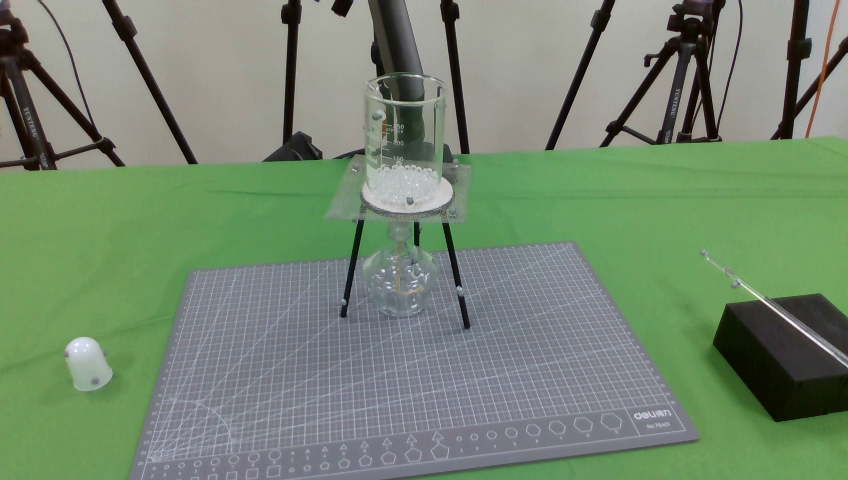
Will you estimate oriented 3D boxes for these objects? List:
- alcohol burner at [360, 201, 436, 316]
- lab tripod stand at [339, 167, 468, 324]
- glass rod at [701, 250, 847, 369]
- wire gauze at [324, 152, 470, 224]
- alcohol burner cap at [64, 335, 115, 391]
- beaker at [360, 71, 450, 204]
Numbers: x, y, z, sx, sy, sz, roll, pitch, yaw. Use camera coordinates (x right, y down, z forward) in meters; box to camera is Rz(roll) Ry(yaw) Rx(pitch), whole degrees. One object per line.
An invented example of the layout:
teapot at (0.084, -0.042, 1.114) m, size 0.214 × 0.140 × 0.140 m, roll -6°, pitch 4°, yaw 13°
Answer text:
alcohol burner at (-0.026, 0.015, 0.604) m, size 0.078 × 0.120 × 0.077 m, roll 0°, pitch 32°, yaw 0°
lab tripod stand at (-0.014, 0.006, 0.600) m, size 0.148 × 0.132 × 0.147 m, roll 2°, pitch 33°, yaw -1°
glass rod at (0.323, 0.064, 0.554) m, size 0.008 × 0.008 × 0.197 m, roll -11°, pitch 36°, yaw -17°
wire gauze at (-0.020, -0.049, 0.564) m, size 0.121 × 0.011 × 0.124 m, roll 4°, pitch 36°, yaw 5°
alcohol burner cap at (-0.296, 0.105, 0.532) m, size 0.034 × 0.048 × 0.033 m, roll 0°, pitch 34°, yaw 0°
beaker at (-0.021, -0.090, 0.538) m, size 0.083 × 0.101 × 0.074 m, roll 27°, pitch 41°, yaw 31°
